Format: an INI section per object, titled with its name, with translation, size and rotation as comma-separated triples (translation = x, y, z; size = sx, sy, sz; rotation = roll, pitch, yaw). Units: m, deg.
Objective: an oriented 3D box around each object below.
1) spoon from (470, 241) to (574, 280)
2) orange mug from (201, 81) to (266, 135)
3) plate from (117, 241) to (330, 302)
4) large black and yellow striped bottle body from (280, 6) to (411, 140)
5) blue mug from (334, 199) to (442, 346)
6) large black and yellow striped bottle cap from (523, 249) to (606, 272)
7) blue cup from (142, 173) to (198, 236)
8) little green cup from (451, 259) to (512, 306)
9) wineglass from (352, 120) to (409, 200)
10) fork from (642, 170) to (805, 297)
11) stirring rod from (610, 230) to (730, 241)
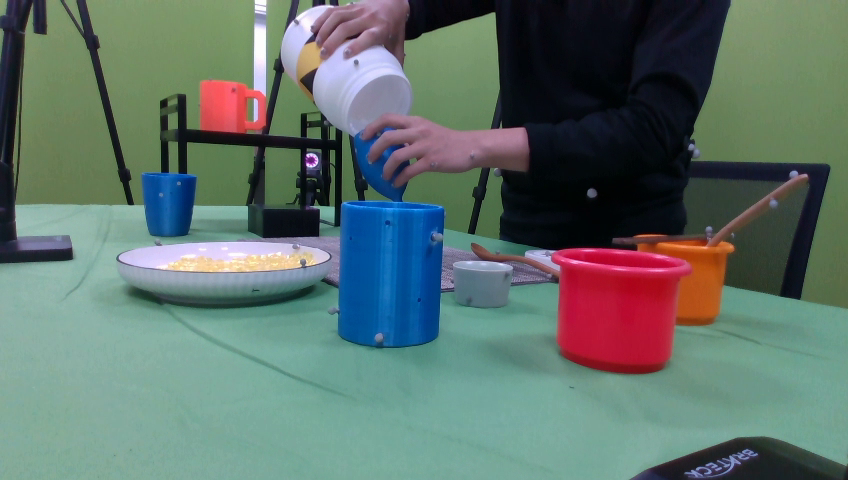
[spoon]
translation = 0.124, 0.025, 0.800
size = 0.042, 0.021, 0.192
rotation = 24, -6, -34
[orange mug]
translation = -0.377, -0.260, 1.198
size = 0.126, 0.101, 0.083
rotation = -3, 8, -6
[plate]
translation = -0.203, 0.031, 0.630
size = 0.209, 0.038, 0.209
rotation = 3, 7, 0
[large black and yellow striped bottle body]
translation = -0.113, -0.242, 0.883
size = 0.131, 0.130, 0.183
rotation = -5, 44, -45
[blue mug]
translation = -0.034, 0.020, 0.498
size = 0.083, 0.106, 0.116
rotation = 0, 7, -20
[large black and yellow striped bottle cap]
translation = 0.197, 0.028, 0.851
size = 0.115, 0.019, 0.115
rotation = 5, 5, 0
[blue cup]
translation = -0.425, -0.060, 1.014
size = 0.093, 0.100, 0.092
rotation = 4, 9, 0
[little green cup]
translation = 0.057, 0.043, 0.611
size = 0.061, 0.038, 0.061
rotation = 3, 8, 0
[wineglass]
translation = -0.044, -0.075, 0.840
size = 0.074, 0.172, 0.074
rotation = -19, -10, -3
[fork]
translation = 0.261, 0.004, 0.545
size = 0.028, 0.018, 0.207
rotation = 5, -37, -15
[stirring rod]
translation = 0.241, -0.005, 0.582
size = 0.177, 0.006, 0.014
rotation = -3, 10, -34
